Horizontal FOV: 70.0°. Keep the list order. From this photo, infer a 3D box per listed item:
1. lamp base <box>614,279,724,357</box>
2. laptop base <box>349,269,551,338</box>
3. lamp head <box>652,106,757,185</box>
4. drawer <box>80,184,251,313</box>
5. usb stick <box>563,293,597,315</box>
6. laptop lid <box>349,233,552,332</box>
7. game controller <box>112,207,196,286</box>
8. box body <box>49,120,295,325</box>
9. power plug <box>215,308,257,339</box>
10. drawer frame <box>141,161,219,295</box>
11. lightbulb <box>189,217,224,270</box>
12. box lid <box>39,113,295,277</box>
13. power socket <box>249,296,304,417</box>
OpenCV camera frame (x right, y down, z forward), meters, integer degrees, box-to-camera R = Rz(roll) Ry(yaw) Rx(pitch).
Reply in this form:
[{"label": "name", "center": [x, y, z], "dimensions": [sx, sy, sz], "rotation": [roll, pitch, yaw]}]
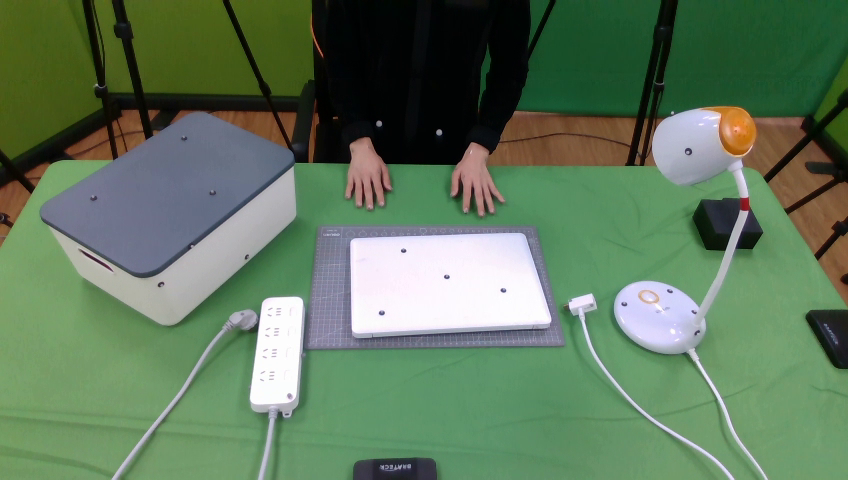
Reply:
[{"label": "lamp base", "center": [0.436, 0.090, 1.034], "dimensions": [0.161, 0.181, 0.178], "rotation": [-23, 55, -23]}, {"label": "laptop base", "center": [0.039, 0.080, 1.125], "dimensions": [0.355, 0.023, 0.234], "rotation": [-2, 43, -6]}, {"label": "lamp head", "center": [0.410, -0.139, 0.869], "dimensions": [0.113, 0.122, 0.112], "rotation": [0, 89, -19]}, {"label": "drawer", "center": [-0.456, 0.009, 1.089], "dimensions": [0.194, 0.073, 0.211], "rotation": [26, 44, 16]}, {"label": "usb stick", "center": [0.280, 0.118, 1.093], "dimensions": [0.059, 0.021, 0.027], "rotation": [-19, 35, 25]}, {"label": "laptop lid", "center": [0.040, 0.070, 1.119], "dimensions": [0.357, 0.013, 0.240], "rotation": [-1, 44, -5]}, {"label": "game controller", "center": [-0.465, 0.003, 1.042], "dimensions": [0.097, 0.052, 0.154], "rotation": [7, 47, 0]}, {"label": "box body", "center": [-0.437, -0.046, 1.110], "dimensions": [0.253, 0.161, 0.363], "rotation": [24, 49, 19]}, {"label": "power plug", "center": [-0.317, 0.143, 1.024], "dimensions": [0.072, 0.053, 0.035], "rotation": [-32, 58, -9]}, {"label": "drawer frame", "center": [-0.435, -0.030, 1.068], "dimensions": [0.083, 0.214, 0.201], "rotation": [-11, 12, -31]}, {"label": "lightbulb", "center": [-0.406, 0.007, 1.114], "dimensions": [0.059, 0.060, 0.107], "rotation": [8, 59, 3]}, {"label": "box lid", "center": [-0.435, -0.096, 1.056], "dimensions": [0.262, 0.015, 0.370], "rotation": [25, 48, 18]}, {"label": "power socket", "center": [-0.239, 0.182, 0.996], "dimensions": [0.072, 0.033, 0.225], "rotation": [-2, 47, -5]}]
